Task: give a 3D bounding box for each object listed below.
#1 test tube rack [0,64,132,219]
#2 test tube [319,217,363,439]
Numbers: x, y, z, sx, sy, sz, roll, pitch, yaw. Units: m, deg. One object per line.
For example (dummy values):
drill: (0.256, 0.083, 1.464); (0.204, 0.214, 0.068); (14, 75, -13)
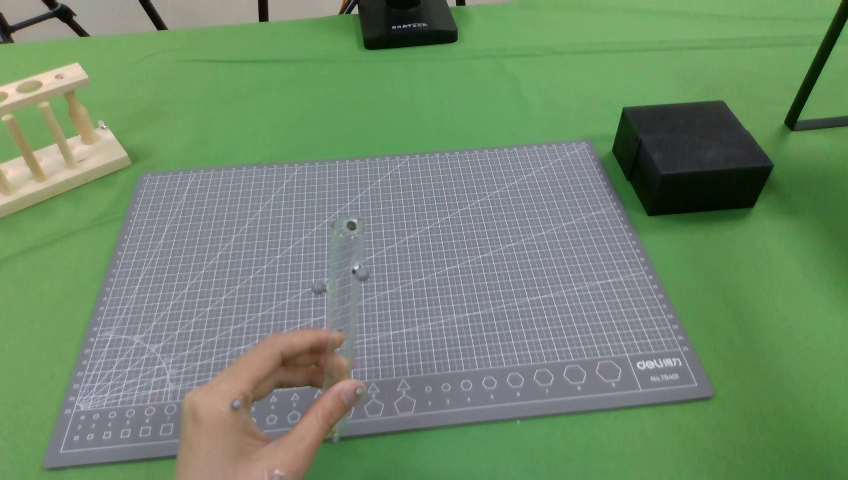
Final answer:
test tube rack: (-0.407, -0.067, 0.542); (0.242, 0.086, 0.066); (-30, 53, -25)
test tube: (-0.045, 0.054, 0.315); (0.017, 0.151, 0.017); (6, 35, -4)
